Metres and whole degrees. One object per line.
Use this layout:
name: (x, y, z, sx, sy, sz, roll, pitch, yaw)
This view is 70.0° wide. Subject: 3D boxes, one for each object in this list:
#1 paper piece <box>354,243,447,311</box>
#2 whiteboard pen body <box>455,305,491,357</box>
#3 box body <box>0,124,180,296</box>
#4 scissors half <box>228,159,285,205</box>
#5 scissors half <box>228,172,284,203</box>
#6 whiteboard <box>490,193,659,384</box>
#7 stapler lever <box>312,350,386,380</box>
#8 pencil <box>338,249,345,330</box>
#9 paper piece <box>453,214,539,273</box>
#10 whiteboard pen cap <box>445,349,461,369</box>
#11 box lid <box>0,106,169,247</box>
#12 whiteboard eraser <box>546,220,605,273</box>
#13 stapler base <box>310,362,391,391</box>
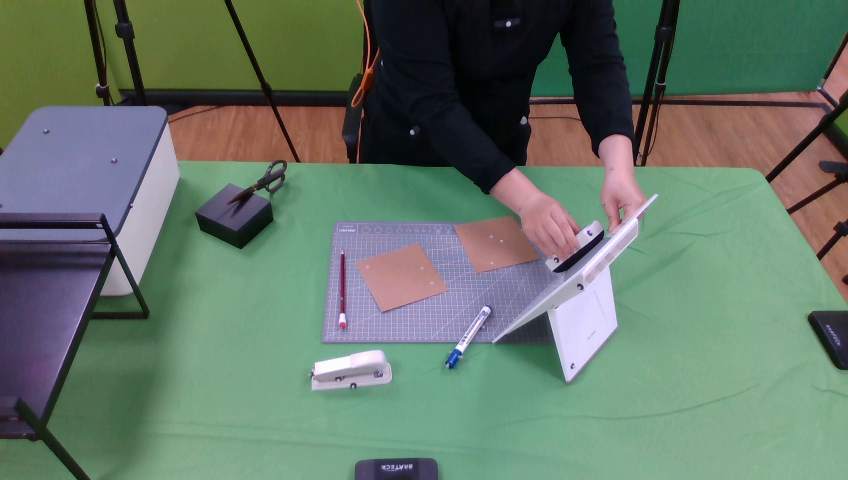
paper piece: (-0.046, 0.066, 1.137, 0.136, 0.009, 0.137, -13, 47, -22)
whiteboard pen body: (0.079, 0.164, 1.046, 0.017, 0.017, 0.140, 25, 50, 19)
box body: (-0.628, -0.075, 1.122, 0.254, 0.161, 0.361, 1, 46, -4)
scissors half: (-0.335, -0.116, 1.217, 0.013, 0.040, 0.175, 26, 46, 12)
scissors half: (-0.339, -0.101, 1.229, 0.013, 0.040, 0.175, 22, 28, 16)
whiteboard: (0.278, 0.101, 0.969, 0.217, 0.306, 0.143, -36, 79, -33)
stapler lever: (-0.120, 0.199, 0.963, 0.118, 0.040, 0.026, -4, 44, -8)
pencil: (-0.152, 0.085, 1.107, 0.012, 0.012, 0.192, -2, 44, -7)
paper piece: (0.142, 0.003, 1.212, 0.135, 0.004, 0.135, -11, 47, -14)
whiteboard pen cap: (0.049, 0.197, 1.011, 0.018, 0.018, 0.033, 23, 49, 17)
box lid: (-0.624, -0.125, 1.067, 0.263, 0.015, 0.369, 0, 46, -3)
whiteboard eraser: (0.265, 0.015, 1.049, 0.055, 0.113, 0.041, -29, 76, -41)
stapler base: (-0.119, 0.215, 0.980, 0.131, 0.024, 0.041, -5, 44, -7)
